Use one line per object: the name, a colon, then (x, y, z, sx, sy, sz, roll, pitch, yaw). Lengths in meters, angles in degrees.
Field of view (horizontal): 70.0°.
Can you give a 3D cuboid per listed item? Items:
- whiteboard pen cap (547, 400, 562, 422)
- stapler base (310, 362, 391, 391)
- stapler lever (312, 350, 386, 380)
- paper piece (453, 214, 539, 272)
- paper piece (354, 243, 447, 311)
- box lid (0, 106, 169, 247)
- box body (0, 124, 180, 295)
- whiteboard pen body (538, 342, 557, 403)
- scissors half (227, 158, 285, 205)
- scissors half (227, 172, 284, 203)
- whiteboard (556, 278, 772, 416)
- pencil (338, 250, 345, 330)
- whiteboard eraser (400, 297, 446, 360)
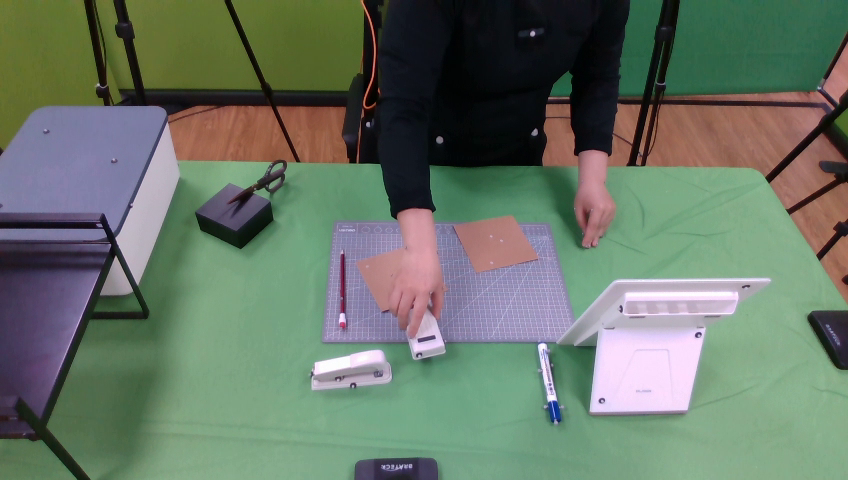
whiteboard pen cap: (0.205, 0.269, 0.956, 0.018, 0.018, 0.033, -1, 48, -5)
stapler base: (-0.119, 0.215, 0.980, 0.131, 0.024, 0.041, -5, 44, -7)
stapler lever: (-0.120, 0.199, 0.963, 0.118, 0.040, 0.026, -4, 44, -8)
paper piece: (0.142, 0.002, 1.212, 0.135, 0.004, 0.135, -11, 47, -14)
paper piece: (-0.046, 0.066, 1.137, 0.136, 0.009, 0.137, -14, 47, -22)
box lid: (-0.624, -0.125, 1.067, 0.263, 0.015, 0.369, 0, 46, -3)
box body: (-0.628, -0.075, 1.122, 0.254, 0.161, 0.361, 1, 46, -4)
whiteboard pen body: (0.205, 0.228, 0.997, 0.017, 0.017, 0.140, 1, 46, -3)
scissors half: (-0.336, -0.117, 1.218, 0.013, 0.040, 0.175, 26, 47, 13)
scissors half: (-0.340, -0.101, 1.231, 0.013, 0.040, 0.175, 22, 28, 17)
whiteboard: (0.347, 0.174, 0.903, 0.217, 0.306, 0.143, 1, 65, -4)
pencil: (-0.153, 0.086, 1.108, 0.012, 0.012, 0.192, -3, 44, -7)
whiteboard eraser: (-0.003, 0.150, 1.019, 0.055, 0.042, 0.112, -10, 44, -10)
